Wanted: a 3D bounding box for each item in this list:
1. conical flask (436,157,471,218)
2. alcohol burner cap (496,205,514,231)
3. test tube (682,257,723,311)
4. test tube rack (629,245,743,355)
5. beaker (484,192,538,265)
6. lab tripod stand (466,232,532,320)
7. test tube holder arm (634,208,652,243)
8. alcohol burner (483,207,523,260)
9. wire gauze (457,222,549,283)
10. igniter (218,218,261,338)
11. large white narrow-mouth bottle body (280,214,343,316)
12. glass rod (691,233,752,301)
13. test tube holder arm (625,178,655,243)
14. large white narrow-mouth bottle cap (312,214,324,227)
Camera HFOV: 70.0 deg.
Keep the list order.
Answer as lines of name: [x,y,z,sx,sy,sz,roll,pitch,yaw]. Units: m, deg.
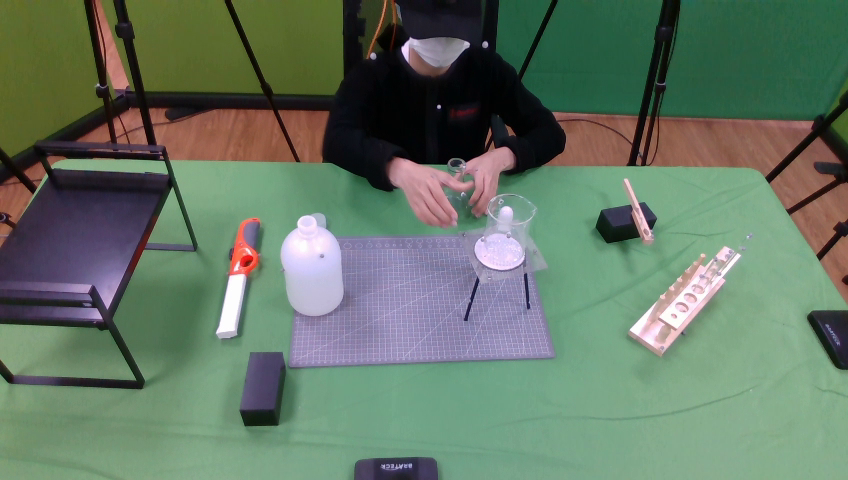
conical flask: [0.064,-0.111,1.238,0.075,0.122,0.075,2,46,-1]
alcohol burner cap: [0.153,-0.044,1.131,0.034,0.048,0.033,2,40,-1]
test tube: [0.475,0.080,1.037,0.017,0.151,0.017,1,51,-1]
test tube rack: [0.474,0.095,1.091,0.242,0.085,0.066,-34,56,-31]
beaker: [0.137,-0.016,0.980,0.084,0.101,0.073,-6,45,-9]
lab tripod stand: [0.125,0.059,1.065,0.148,0.132,0.147,1,45,0]
test tube holder arm: [0.428,-0.030,1.189,0.010,0.015,0.087,2,47,-3]
alcohol burner: [0.153,-0.018,1.156,0.078,0.120,0.077,0,47,0]
wire gauze: [0.131,0.016,1.017,0.121,0.011,0.124,-10,44,-15]
igniter: [-0.336,0.060,1.111,0.057,0.025,0.274,-8,46,4]
large white narrow-mouth bottle body: [-0.190,0.035,1.025,0.102,0.195,0.101,2,46,-2]
glass rod: [0.507,0.053,1.041,0.008,0.200,0.008,5,50,-6]
test tube holder arm: [0.433,-0.062,1.220,0.013,0.015,0.177,2,47,-4]
large white narrow-mouth bottle cap: [-0.220,-0.033,1.214,0.038,0.024,0.037,2,46,-2]
